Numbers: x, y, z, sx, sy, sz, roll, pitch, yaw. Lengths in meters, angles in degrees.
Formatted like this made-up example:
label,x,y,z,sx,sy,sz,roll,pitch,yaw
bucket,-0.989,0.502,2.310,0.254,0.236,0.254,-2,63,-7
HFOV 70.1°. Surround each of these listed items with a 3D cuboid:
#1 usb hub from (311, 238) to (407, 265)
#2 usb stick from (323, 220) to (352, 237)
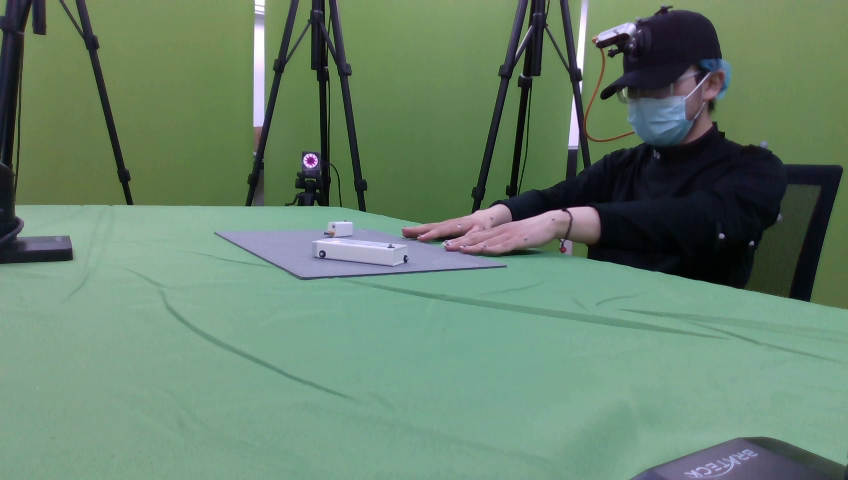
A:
label,x,y,z,sx,sy,sz,roll,pitch,yaw
usb hub,-0.089,0.014,0.828,0.125,0.025,0.050,5,8,21
usb stick,-0.154,-0.020,1.072,0.021,0.027,0.059,9,12,34
